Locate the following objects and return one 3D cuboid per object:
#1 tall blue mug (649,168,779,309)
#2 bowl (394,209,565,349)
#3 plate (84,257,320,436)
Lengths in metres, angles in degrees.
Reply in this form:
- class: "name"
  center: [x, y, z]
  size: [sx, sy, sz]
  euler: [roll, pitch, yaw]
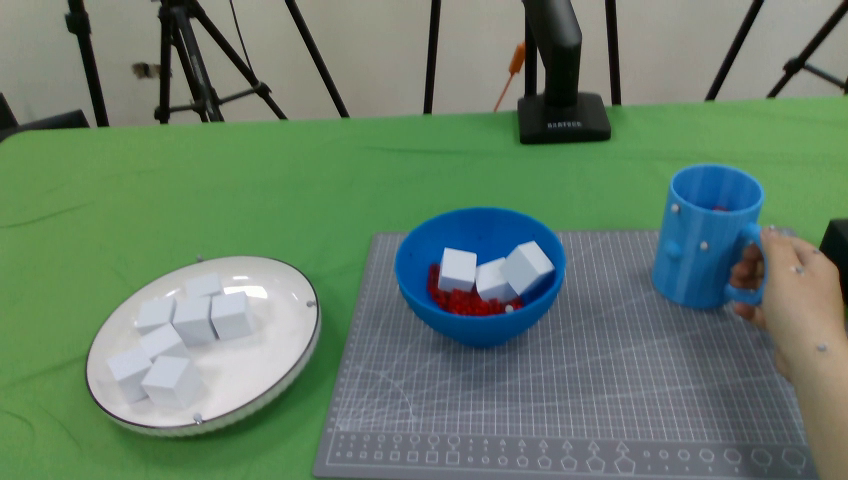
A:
- class: "tall blue mug"
  center: [0.268, 0.004, 0.551]
  size: [0.106, 0.109, 0.077]
  euler: [21, 45, 29]
- class: "bowl"
  center: [0.051, 0.046, 0.553]
  size: [0.151, 0.077, 0.150]
  euler: [-4, 39, 3]
- class: "plate"
  center: [-0.198, 0.095, 0.561]
  size: [0.209, 0.038, 0.207]
  euler: [-3, 39, 3]
